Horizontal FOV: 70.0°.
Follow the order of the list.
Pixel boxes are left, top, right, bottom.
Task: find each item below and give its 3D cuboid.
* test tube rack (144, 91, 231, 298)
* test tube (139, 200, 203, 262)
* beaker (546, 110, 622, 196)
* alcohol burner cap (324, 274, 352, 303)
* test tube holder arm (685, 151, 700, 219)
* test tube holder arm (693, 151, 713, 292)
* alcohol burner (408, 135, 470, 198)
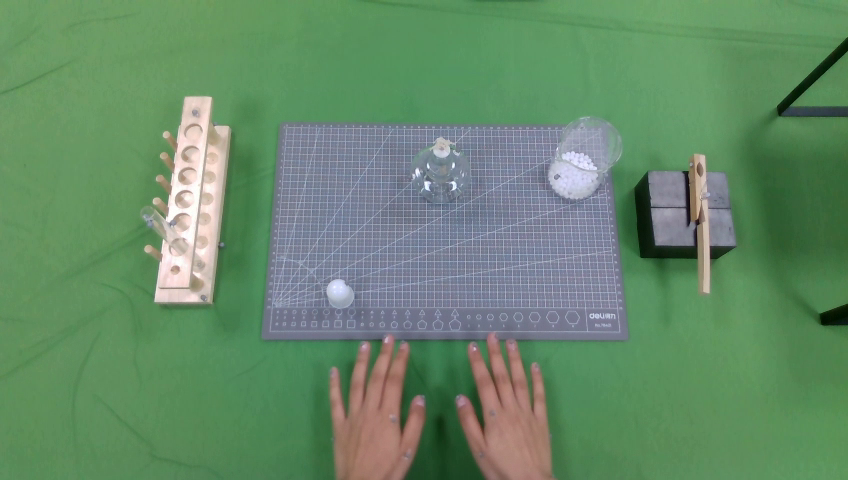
[{"bbox_3d":[-0.295,-0.056,0.746,0.067,0.085,0.241,0,72,-1],"label":"test tube rack"},{"bbox_3d":[-0.279,-0.006,0.678,0.017,0.151,0.017,0,68,0],"label":"test tube"},{"bbox_3d":[0.195,-0.104,0.765,0.084,0.101,0.073,-21,73,-7],"label":"beaker"},{"bbox_3d":[-0.106,0.056,0.735,0.034,0.048,0.033,1,72,-3],"label":"alcohol burner cap"},{"bbox_3d":[0.335,-0.069,0.753,0.010,0.015,0.087,2,74,1],"label":"test tube holder arm"},{"bbox_3d":[0.339,-0.025,0.741,0.013,0.015,0.177,1,74,1],"label":"test tube holder arm"},{"bbox_3d":[0.019,-0.098,0.751,0.078,0.120,0.077,0,72,1],"label":"alcohol burner"}]
